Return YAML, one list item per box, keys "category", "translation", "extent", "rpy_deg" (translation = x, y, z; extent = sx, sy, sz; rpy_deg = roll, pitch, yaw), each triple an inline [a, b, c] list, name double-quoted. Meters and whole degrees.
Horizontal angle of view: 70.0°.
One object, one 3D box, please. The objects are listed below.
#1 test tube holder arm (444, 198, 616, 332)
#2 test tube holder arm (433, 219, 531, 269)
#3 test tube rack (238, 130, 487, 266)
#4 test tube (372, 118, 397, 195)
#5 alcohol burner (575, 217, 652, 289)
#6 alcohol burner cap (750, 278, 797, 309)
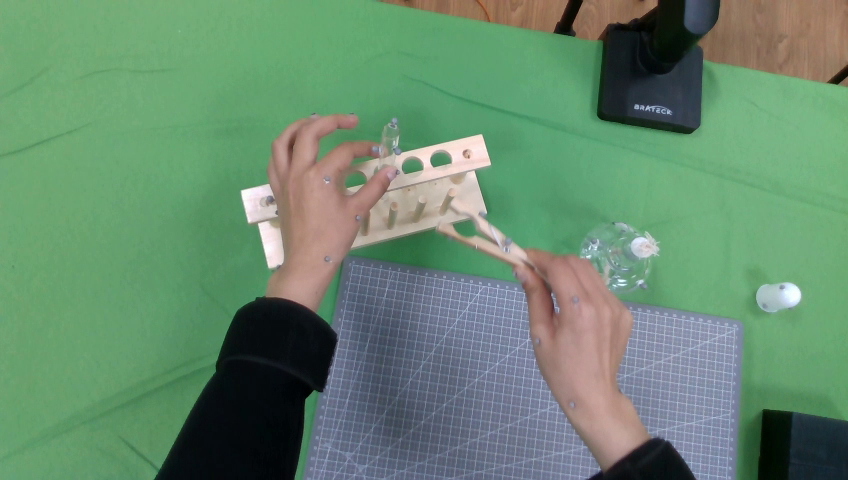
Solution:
- category: "test tube holder arm"
  translation: [0.090, 0.022, 0.508]
  extent: [0.179, 0.015, 0.013]
  rpy_deg: [36, 82, -6]
- category: "test tube holder arm"
  translation: [0.049, 0.004, 0.501]
  extent: [0.088, 0.015, 0.010]
  rpy_deg: [22, 82, -8]
- category: "test tube rack"
  translation: [-0.056, -0.041, 0.626]
  extent: [0.243, 0.085, 0.066]
  rpy_deg: [-15, 80, -8]
- category: "test tube"
  translation: [-0.040, -0.074, 0.576]
  extent: [0.017, 0.150, 0.017]
  rpy_deg: [2, 73, -7]
- category: "alcohol burner"
  translation: [0.202, 0.011, 0.628]
  extent: [0.078, 0.119, 0.077]
  rpy_deg: [1, 79, -7]
- category: "alcohol burner cap"
  translation: [0.391, 0.059, 0.673]
  extent: [0.034, 0.048, 0.033]
  rpy_deg: [1, 78, -4]
